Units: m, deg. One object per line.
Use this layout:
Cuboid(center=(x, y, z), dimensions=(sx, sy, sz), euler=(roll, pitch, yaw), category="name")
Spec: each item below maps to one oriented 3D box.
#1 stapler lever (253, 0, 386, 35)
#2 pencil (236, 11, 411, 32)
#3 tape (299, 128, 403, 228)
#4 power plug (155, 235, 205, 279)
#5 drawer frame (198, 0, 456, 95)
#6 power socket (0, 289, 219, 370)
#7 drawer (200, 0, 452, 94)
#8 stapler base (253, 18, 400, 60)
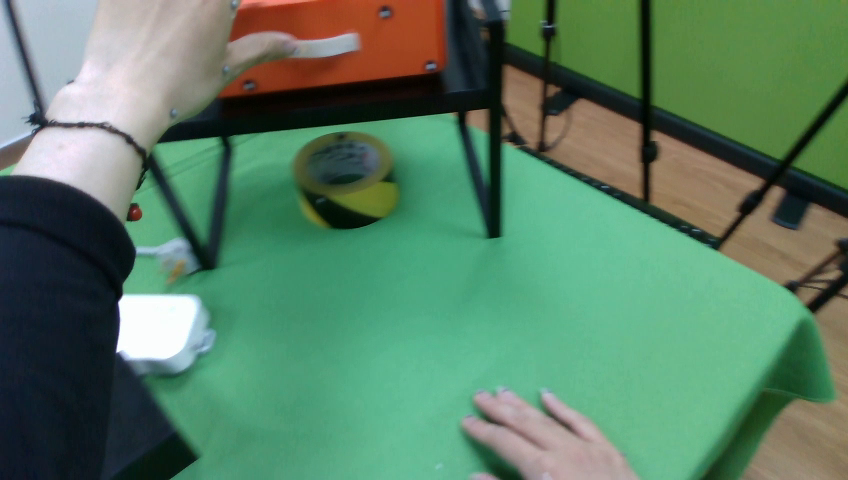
Cuboid(center=(-0.091, -0.198, 0.523), dimensions=(0.118, 0.040, 0.026), euler=(4, 44, 9), category="stapler lever")
Cuboid(center=(-0.098, -0.203, 0.562), dimensions=(0.193, 0.012, 0.012), euler=(6, 47, 25), category="pencil")
Cuboid(center=(-0.079, -0.072, 0.676), dimensions=(0.117, 0.053, 0.115), euler=(-2, 48, 2), category="tape")
Cuboid(center=(-0.256, 0.023, 0.626), dimensions=(0.072, 0.035, 0.052), euler=(-25, 32, 32), category="power plug")
Cuboid(center=(-0.086, -0.231, 0.559), dimensions=(0.202, 0.083, 0.211), euler=(-9, 46, -3), category="drawer frame")
Cuboid(center=(-0.306, 0.082, 0.562), dimensions=(0.226, 0.033, 0.071), euler=(0, 47, 5), category="power socket")
Cuboid(center=(-0.085, -0.228, 0.557), dimensions=(0.194, 0.074, 0.209), euler=(-8, 46, -2), category="drawer")
Cuboid(center=(-0.088, -0.182, 0.540), dimensions=(0.130, 0.025, 0.041), euler=(3, 44, 10), category="stapler base")
